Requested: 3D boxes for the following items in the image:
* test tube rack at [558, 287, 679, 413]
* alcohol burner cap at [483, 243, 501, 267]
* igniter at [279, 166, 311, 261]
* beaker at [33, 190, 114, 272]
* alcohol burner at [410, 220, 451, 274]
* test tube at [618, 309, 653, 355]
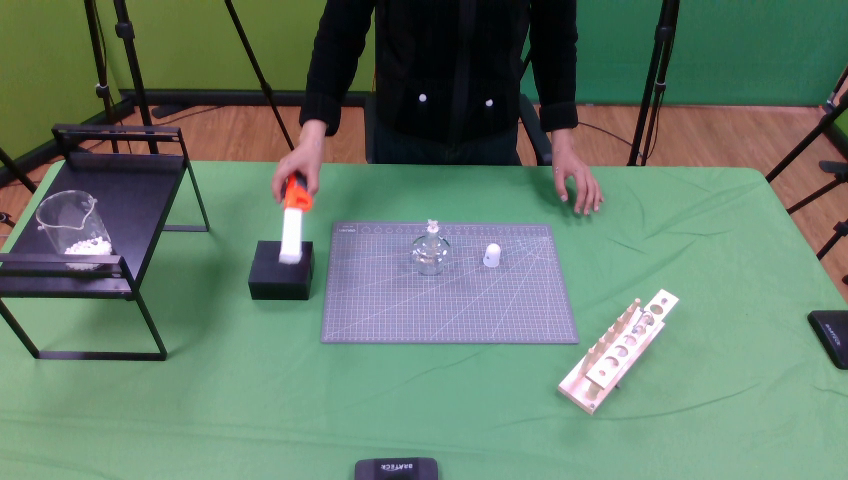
[{"bbox_3d":[0.326,0.170,1.009,0.066,0.085,0.242,36,54,26],"label":"test tube rack"},{"bbox_3d":[0.132,0.025,1.161,0.034,0.048,0.033,3,46,-3],"label":"alcohol burner cap"},{"bbox_3d":[-0.225,-0.055,1.051,0.057,0.025,0.274,9,34,-15],"label":"igniter"},{"bbox_3d":[-0.493,-0.009,0.865,0.083,0.101,0.074,37,55,27],"label":"beaker"},{"bbox_3d":[0.013,0.007,1.120,0.078,0.120,0.077,1,48,-1],"label":"alcohol burner"},{"bbox_3d":[0.329,0.155,0.956,0.017,0.151,0.017,2,51,-2],"label":"test tube"}]
